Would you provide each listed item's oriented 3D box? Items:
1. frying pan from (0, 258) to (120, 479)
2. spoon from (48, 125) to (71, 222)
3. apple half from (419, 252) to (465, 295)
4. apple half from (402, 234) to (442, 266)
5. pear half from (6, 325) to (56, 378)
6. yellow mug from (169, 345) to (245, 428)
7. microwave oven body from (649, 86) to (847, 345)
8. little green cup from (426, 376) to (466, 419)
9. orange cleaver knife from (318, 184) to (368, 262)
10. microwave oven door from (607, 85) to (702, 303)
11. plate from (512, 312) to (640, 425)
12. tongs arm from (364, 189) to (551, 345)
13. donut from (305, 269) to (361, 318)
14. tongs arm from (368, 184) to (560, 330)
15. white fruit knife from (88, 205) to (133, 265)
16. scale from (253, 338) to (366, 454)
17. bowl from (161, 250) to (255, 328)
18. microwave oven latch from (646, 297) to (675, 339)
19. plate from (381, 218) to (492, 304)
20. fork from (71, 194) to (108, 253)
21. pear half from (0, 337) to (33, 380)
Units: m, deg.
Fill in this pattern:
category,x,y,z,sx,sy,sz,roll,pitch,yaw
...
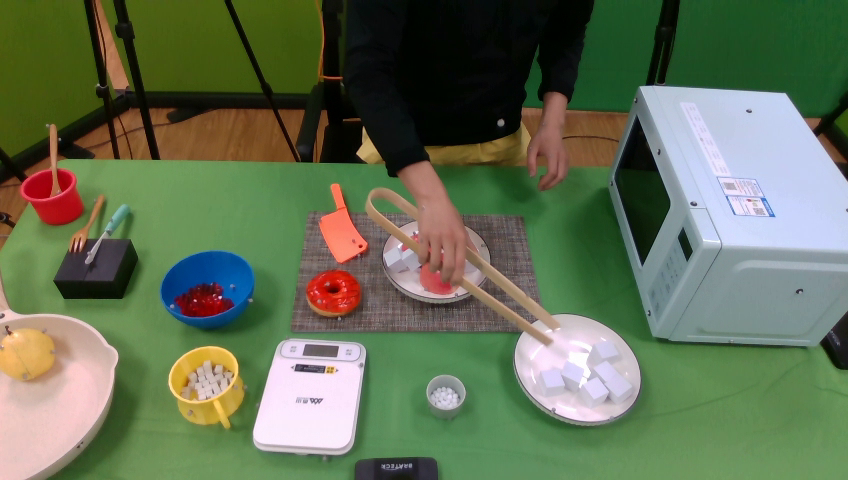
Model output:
category,x,y,z,sx,sy,sz,roll,pitch,yaw
frying pan,-0.647,0.164,0.936,0.307,0.103,0.485,-19,58,-22
spoon,-0.718,-0.131,1.188,0.041,0.021,0.193,-3,90,-7
apple half,0.035,0.056,1.110,0.074,0.053,0.081,37,55,24
apple half,-0.004,0.014,1.160,0.081,0.033,0.081,4,44,-4
pear half,-0.608,0.158,0.935,0.076,0.110,0.056,31,51,20
yellow mug,-0.322,0.230,0.922,0.100,0.064,0.130,-24,53,-25
microwave oven body,0.567,-0.053,1.118,0.326,0.261,0.439,2,45,-1
little green cup,0.033,0.248,0.950,0.061,0.039,0.061,2,46,-2
orange cleaver knife,-0.173,-0.037,1.218,0.077,0.012,0.210,-16,50,-12
microwave oven door,0.423,-0.094,1.140,0.039,0.245,0.353,2,46,-1
plate,0.246,0.213,0.999,0.208,0.039,0.206,2,46,-2
tongs arm,0.048,0.046,0.995,0.387,0.028,0.028,38,56,6
donut,-0.160,0.095,1.075,0.099,0.048,0.098,3,45,-3
tongs arm,0.062,0.030,1.011,0.384,0.026,0.050,40,53,8
white fruit knife,-0.584,-0.013,1.129,0.016,0.027,0.206,0,32,-5
scale,-0.175,0.236,0.951,0.149,0.032,0.199,4,46,0
bowl,-0.362,0.098,1.039,0.151,0.077,0.150,2,45,-2
microwave oven latch,0.412,0.134,1.061,0.030,0.029,0.078,4,45,1
plate,0.023,0.042,1.143,0.209,0.038,0.208,2,46,-2
fork,-0.634,-0.036,1.158,0.028,0.019,0.206,-8,31,-8
pear half,-0.631,0.184,0.921,0.070,0.088,0.031,29,49,19
